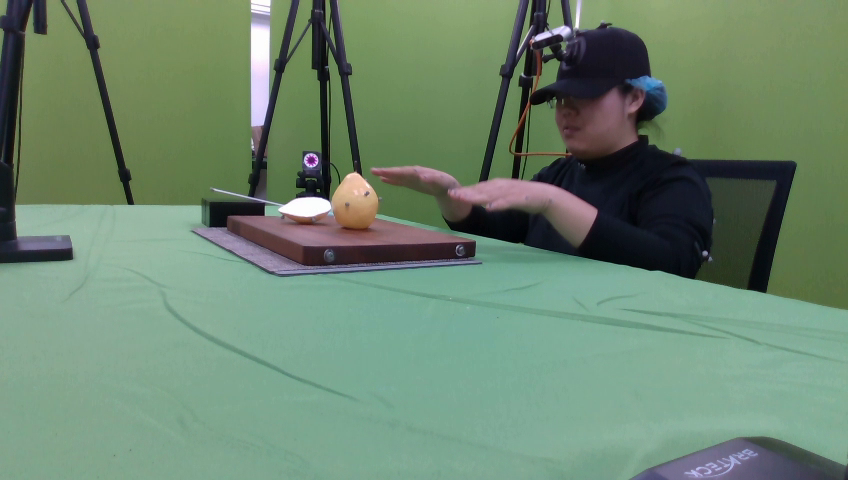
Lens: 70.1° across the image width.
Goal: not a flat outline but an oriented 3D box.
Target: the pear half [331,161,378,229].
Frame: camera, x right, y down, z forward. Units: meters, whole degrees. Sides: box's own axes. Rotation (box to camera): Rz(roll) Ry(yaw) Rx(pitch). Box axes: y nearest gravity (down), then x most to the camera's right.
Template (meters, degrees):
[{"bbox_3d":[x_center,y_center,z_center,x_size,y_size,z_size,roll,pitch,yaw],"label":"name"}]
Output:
[{"bbox_3d":[-0.106,-0.072,0.971,0.077,0.110,0.055,-9,13,-40],"label":"pear half"}]

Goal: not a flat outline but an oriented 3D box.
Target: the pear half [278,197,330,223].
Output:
[{"bbox_3d":[-0.204,-0.047,1.033,0.088,0.031,0.070,-13,27,-17],"label":"pear half"}]

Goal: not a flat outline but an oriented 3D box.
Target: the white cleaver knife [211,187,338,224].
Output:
[{"bbox_3d":[-0.286,-0.073,1.222,0.288,0.021,0.065,15,3,-28],"label":"white cleaver knife"}]
